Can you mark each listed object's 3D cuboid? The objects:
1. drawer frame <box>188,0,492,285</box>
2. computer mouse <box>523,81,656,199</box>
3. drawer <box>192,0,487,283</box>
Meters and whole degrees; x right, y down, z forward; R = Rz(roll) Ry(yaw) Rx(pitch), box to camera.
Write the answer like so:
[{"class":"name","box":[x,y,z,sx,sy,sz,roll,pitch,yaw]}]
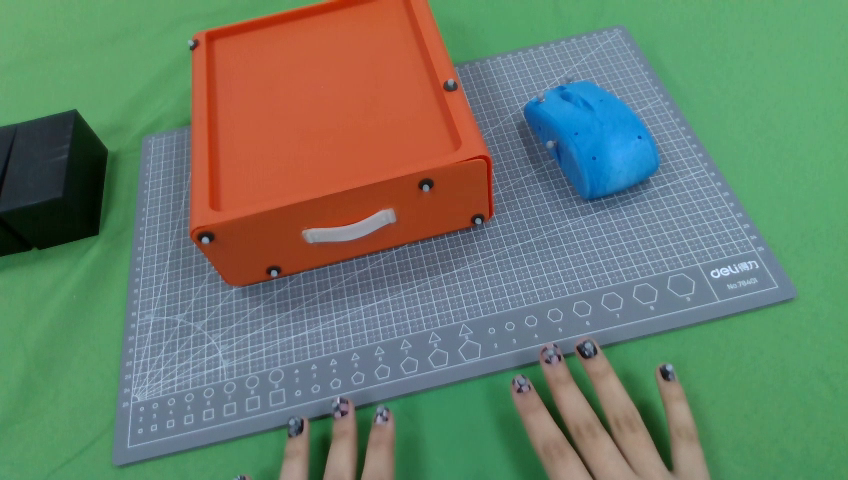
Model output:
[{"class":"drawer frame","box":[-0.072,-0.090,0.471,0.202,0.083,0.211,-15,54,-2]},{"class":"computer mouse","box":[0.125,-0.084,0.467,0.063,0.041,0.116,-21,51,-4]},{"class":"drawer","box":[-0.072,-0.088,0.471,0.194,0.074,0.209,-15,54,-1]}]
